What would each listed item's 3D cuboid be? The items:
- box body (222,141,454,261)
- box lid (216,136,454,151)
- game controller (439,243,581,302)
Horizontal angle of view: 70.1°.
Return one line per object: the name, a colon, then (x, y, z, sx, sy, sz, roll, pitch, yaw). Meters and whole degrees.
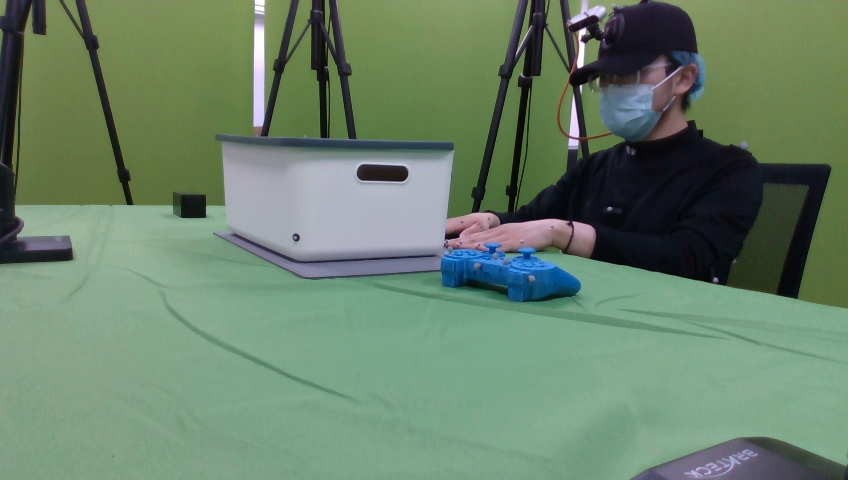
box body: (-0.152, -0.074, 0.963, 0.255, 0.160, 0.362, -3, 9, -33)
box lid: (-0.151, -0.149, 0.941, 0.265, 0.015, 0.369, -4, 10, -32)
game controller: (0.090, 0.033, 0.686, 0.154, 0.051, 0.097, 8, 13, 42)
